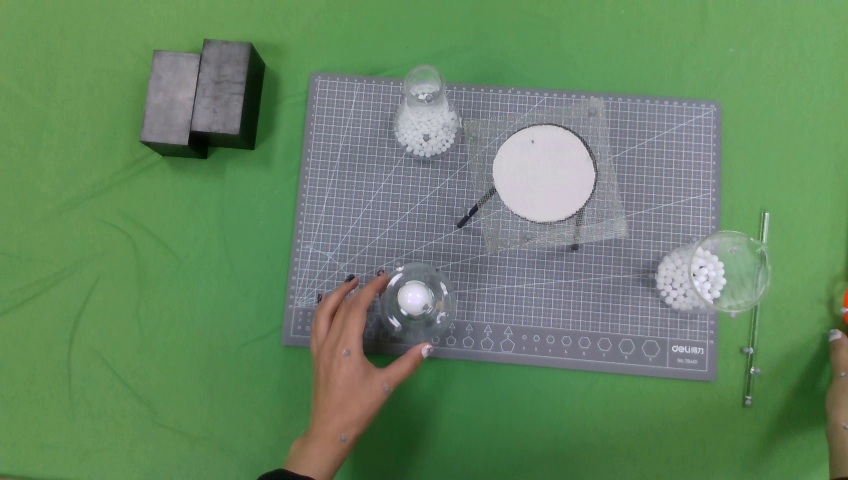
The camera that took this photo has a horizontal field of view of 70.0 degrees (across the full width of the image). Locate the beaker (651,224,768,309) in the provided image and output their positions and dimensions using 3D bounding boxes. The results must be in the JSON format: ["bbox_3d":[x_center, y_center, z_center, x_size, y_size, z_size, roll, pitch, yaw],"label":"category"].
[{"bbox_3d":[0.273,0.027,0.588,0.084,0.100,0.074,-32,83,-4],"label":"beaker"}]

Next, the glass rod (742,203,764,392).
[{"bbox_3d":[0.344,0.058,0.631,0.008,0.008,0.199,8,83,2],"label":"glass rod"}]

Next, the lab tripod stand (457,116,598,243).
[{"bbox_3d":[0.103,-0.052,0.583,0.148,0.132,0.148,0,84,2],"label":"lab tripod stand"}]

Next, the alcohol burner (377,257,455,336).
[{"bbox_3d":[-0.009,0.053,0.582,0.078,0.119,0.077,0,81,3],"label":"alcohol burner"}]

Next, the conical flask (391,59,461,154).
[{"bbox_3d":[0.000,-0.137,0.601,0.075,0.122,0.075,0,82,2],"label":"conical flask"}]

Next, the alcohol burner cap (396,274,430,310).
[{"bbox_3d":[-0.010,0.047,0.546,0.034,0.048,0.034,0,86,-1],"label":"alcohol burner cap"}]

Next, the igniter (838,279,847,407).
[{"bbox_3d":[0.459,0.034,0.623,0.057,0.025,0.276,12,83,-9],"label":"igniter"}]

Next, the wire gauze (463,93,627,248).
[{"bbox_3d":[0.102,-0.059,0.516,0.125,0.011,0.121,-8,83,0],"label":"wire gauze"}]
